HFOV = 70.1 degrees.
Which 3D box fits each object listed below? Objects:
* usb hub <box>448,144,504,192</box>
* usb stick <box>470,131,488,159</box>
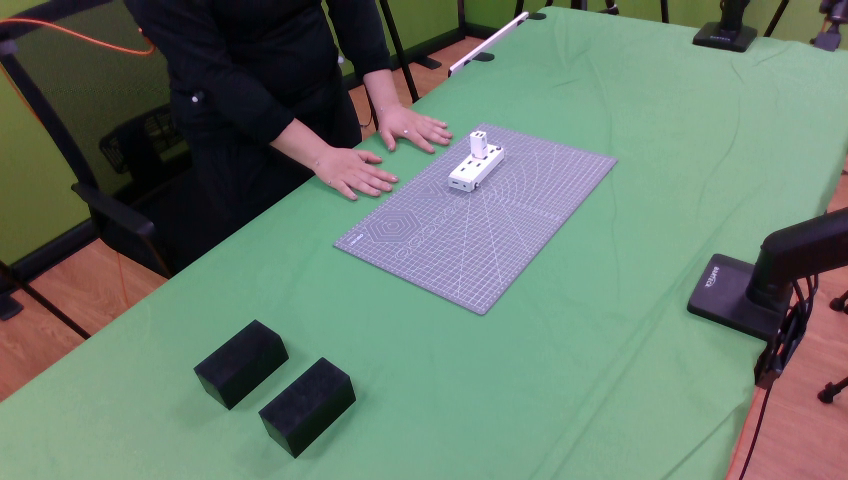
[{"bbox_3d":[0.097,-0.133,1.106,0.049,0.025,0.125,20,48,28],"label":"usb hub"},{"bbox_3d":[0.100,-0.166,1.100,0.027,0.059,0.021,18,46,26],"label":"usb stick"}]
